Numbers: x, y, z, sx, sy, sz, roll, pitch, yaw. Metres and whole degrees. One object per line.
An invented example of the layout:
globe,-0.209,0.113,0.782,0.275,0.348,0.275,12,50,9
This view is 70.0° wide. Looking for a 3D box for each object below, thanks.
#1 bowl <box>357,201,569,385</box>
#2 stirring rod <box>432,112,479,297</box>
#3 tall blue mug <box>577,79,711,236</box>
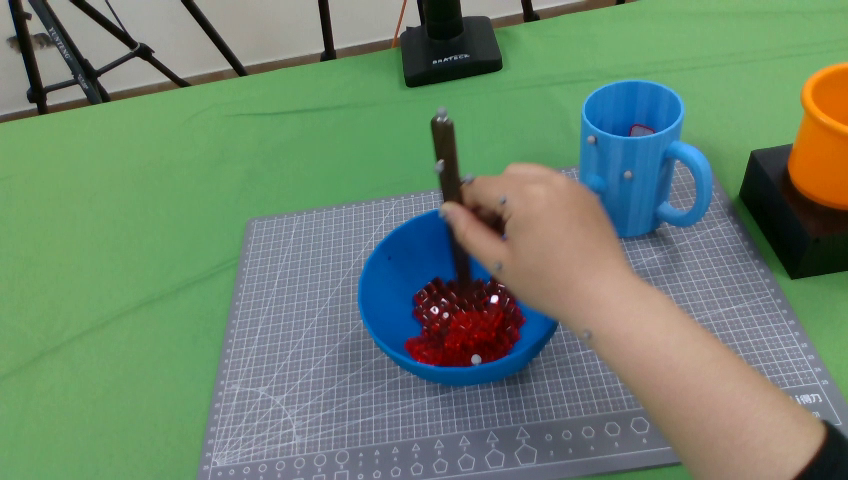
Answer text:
bowl,0.031,0.051,0.452,0.151,0.077,0.150,-6,47,7
stirring rod,0.023,-0.013,0.394,0.014,0.178,0.006,15,56,21
tall blue mug,0.183,-0.063,0.502,0.106,0.109,0.077,12,51,22
